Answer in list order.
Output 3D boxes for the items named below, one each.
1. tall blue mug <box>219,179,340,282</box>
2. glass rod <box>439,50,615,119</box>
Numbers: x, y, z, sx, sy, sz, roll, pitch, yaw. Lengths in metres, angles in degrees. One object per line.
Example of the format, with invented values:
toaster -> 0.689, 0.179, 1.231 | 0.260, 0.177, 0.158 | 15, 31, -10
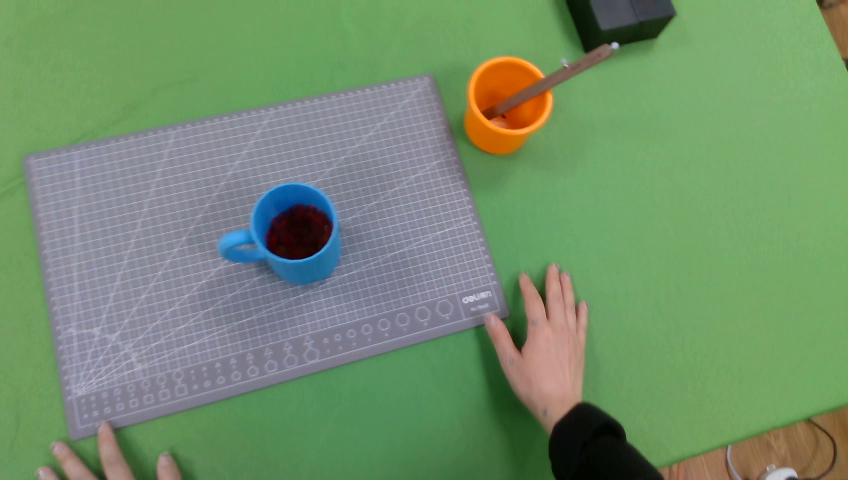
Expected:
tall blue mug -> -0.133, 0.003, 0.591 | 0.107, 0.108, 0.077 | -38, 83, -14
glass rod -> 0.105, -0.165, 0.651 | 0.199, 0.008, 0.008 | -16, 75, 24
